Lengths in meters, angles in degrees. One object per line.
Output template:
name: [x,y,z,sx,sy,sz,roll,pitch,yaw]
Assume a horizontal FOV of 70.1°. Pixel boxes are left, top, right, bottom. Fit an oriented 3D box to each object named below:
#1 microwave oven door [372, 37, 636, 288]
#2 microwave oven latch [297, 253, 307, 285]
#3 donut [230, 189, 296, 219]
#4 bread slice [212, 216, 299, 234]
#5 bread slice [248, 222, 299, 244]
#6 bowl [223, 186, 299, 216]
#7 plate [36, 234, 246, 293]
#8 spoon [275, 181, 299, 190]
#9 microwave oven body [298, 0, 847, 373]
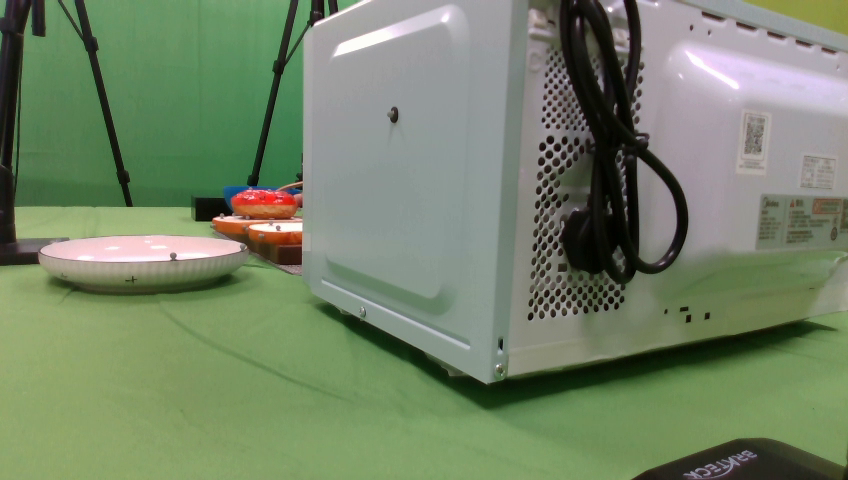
microwave oven door: [0.110,-0.080,0.686,0.358,0.243,0.039,-2,9,-33]
microwave oven latch: [-0.082,0.027,0.582,0.079,0.029,0.030,-1,7,-32]
donut: [-0.250,-0.055,0.941,0.099,0.048,0.099,3,7,0]
bread slice: [-0.256,-0.026,0.936,0.132,0.019,0.104,-5,9,-40]
bread slice: [-0.174,-0.012,0.844,0.135,0.018,0.106,-6,10,-44]
bowl: [-0.330,-0.068,1.230,0.151,0.077,0.151,3,7,0]
plate: [-0.305,0.026,0.668,0.208,0.039,0.207,3,7,0]
spoon: [-0.301,-0.102,1.260,0.041,0.021,0.194,13,30,33]
microwave oven body: [0.151,-0.055,0.543,0.444,0.260,0.324,-1,7,-33]
